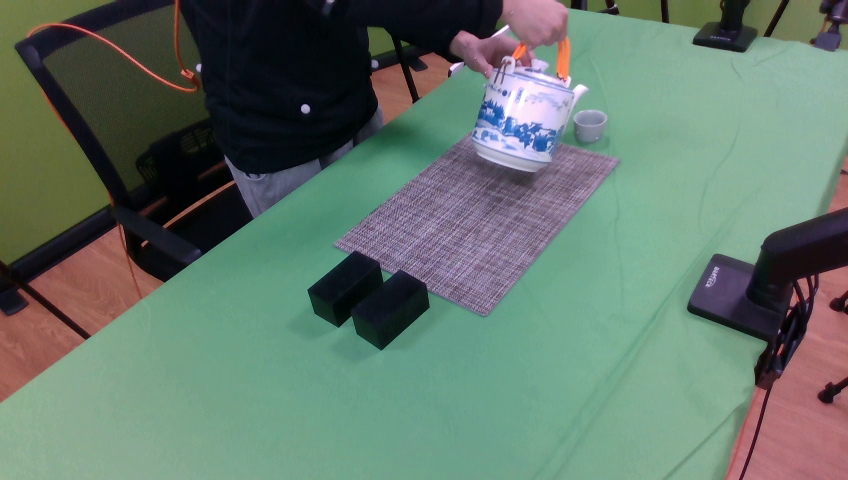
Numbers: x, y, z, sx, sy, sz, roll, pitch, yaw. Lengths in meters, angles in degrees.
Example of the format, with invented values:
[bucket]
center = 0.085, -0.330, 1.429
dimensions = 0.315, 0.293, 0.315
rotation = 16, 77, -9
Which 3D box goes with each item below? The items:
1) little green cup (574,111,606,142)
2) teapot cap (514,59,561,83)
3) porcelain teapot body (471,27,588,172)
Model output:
[little green cup]
center = 0.318, -0.218, 1.164
dimensions = 0.061, 0.039, 0.061
rotation = -3, 41, 3
[teapot cap]
center = 0.185, -0.273, 0.995
dimensions = 0.085, 0.044, 0.085
rotation = 16, 16, -4
[porcelain teapot body]
center = 0.196, -0.236, 1.027
dimensions = 0.207, 0.225, 0.144
rotation = 2, 21, -39
